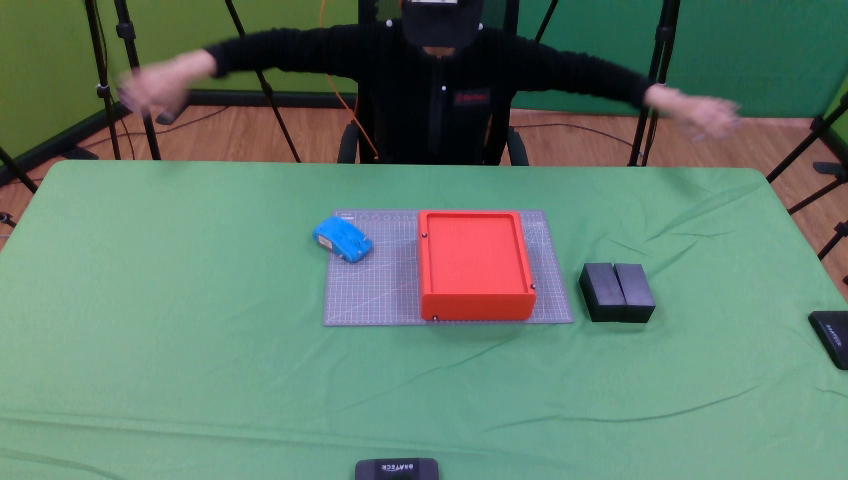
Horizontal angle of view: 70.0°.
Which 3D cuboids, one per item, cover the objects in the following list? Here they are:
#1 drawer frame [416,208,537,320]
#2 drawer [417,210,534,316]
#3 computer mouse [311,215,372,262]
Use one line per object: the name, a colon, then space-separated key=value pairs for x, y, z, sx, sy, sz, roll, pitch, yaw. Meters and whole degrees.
drawer frame: x=0.089 y=0.040 z=1.120 sx=0.202 sy=0.083 sz=0.212 roll=0 pitch=47 yaw=-5
drawer: x=0.088 y=0.040 z=1.122 sx=0.195 sy=0.073 sz=0.210 roll=1 pitch=47 yaw=-4
computer mouse: x=-0.160 y=-0.007 z=1.178 sx=0.117 sy=0.041 sz=0.062 roll=32 pitch=50 yaw=19
